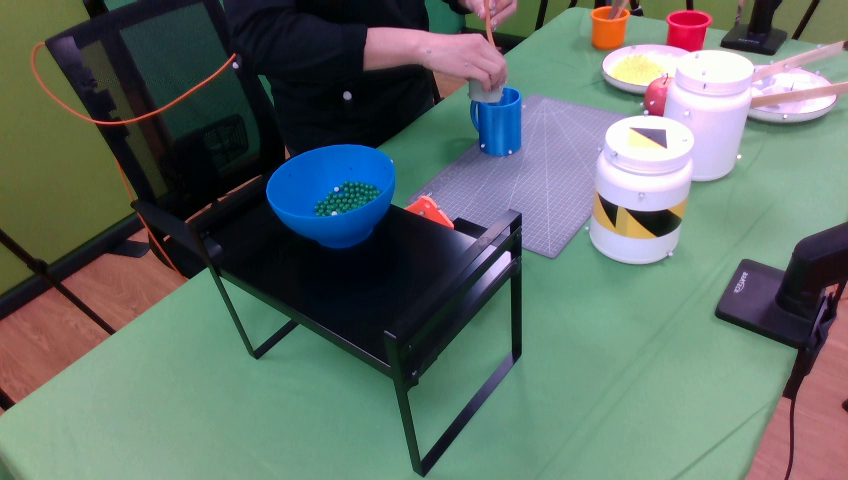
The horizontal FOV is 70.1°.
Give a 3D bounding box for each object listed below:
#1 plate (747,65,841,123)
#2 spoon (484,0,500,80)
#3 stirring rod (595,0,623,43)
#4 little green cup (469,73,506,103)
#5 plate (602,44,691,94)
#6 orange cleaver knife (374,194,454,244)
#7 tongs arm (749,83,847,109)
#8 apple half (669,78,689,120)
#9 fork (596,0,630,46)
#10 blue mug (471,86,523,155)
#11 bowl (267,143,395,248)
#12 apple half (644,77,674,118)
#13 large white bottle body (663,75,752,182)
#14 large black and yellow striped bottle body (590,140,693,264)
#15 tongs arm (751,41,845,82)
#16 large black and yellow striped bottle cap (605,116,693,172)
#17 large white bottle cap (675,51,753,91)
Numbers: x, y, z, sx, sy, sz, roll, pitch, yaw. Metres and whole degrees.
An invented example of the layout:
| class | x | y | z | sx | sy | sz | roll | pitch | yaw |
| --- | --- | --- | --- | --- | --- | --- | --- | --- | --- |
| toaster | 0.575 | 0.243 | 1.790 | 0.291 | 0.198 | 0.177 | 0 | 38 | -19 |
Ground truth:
| class | x | y | z | sx | sy | sz | roll | pitch | yaw |
| --- | --- | --- | --- | --- | --- | --- | --- | --- | --- |
| plate | 0.695 | -0.282 | 1.189 | 0.207 | 0.039 | 0.206 | -4 | 40 | 4 |
| spoon | 0.106 | -0.340 | 0.974 | 0.021 | 0.194 | 0.041 | -7 | 21 | 5 |
| stirring rod | 0.460 | -0.556 | 1.460 | 0.014 | 0.006 | 0.176 | 30 | 93 | 23 |
| little green cup | 0.103 | -0.253 | 1.006 | 0.061 | 0.038 | 0.061 | 6 | 22 | -2 |
| plate | 0.495 | -0.367 | 1.317 | 0.209 | 0.038 | 0.208 | -4 | 40 | 4 |
| orange cleaver knife | -0.032 | -0.026 | 0.965 | 0.210 | 0.077 | 0.012 | -10 | 28 | 51 |
| tongs arm | 0.735 | -0.280 | 1.134 | 0.388 | 0.028 | 0.028 | -9 | 47 | -5 |
| apple half | 0.498 | -0.273 | 1.180 | 0.032 | 0.082 | 0.081 | 7 | 42 | 25 |
| fork | 0.481 | -0.556 | 1.452 | 0.028 | 0.019 | 0.207 | 40 | 103 | 40 |
| blue mug | 0.135 | -0.235 | 1.163 | 0.082 | 0.106 | 0.115 | -36 | 48 | -28 |
| bowl | -0.104 | -0.043 | 0.726 | 0.151 | 0.077 | 0.150 | -4 | 41 | 4 |
| apple half | 0.463 | -0.279 | 1.194 | 0.053 | 0.075 | 0.081 | 8 | 46 | 24 |
| large white bottle body | 0.472 | -0.207 | 1.022 | 0.130 | 0.185 | 0.130 | -4 | 41 | 4 |
| large black and yellow striped bottle body | 0.317 | -0.071 | 0.889 | 0.131 | 0.185 | 0.130 | -4 | 41 | 4 |
| tongs arm | 0.708 | -0.331 | 1.193 | 0.386 | 0.026 | 0.050 | -19 | 45 | -16 |
| large black and yellow striped bottle cap | 0.309 | -0.134 | 0.833 | 0.115 | 0.019 | 0.114 | -5 | 40 | 5 |
| large white bottle cap | 0.463 | -0.271 | 0.967 | 0.115 | 0.018 | 0.114 | -4 | 40 | 3 |
